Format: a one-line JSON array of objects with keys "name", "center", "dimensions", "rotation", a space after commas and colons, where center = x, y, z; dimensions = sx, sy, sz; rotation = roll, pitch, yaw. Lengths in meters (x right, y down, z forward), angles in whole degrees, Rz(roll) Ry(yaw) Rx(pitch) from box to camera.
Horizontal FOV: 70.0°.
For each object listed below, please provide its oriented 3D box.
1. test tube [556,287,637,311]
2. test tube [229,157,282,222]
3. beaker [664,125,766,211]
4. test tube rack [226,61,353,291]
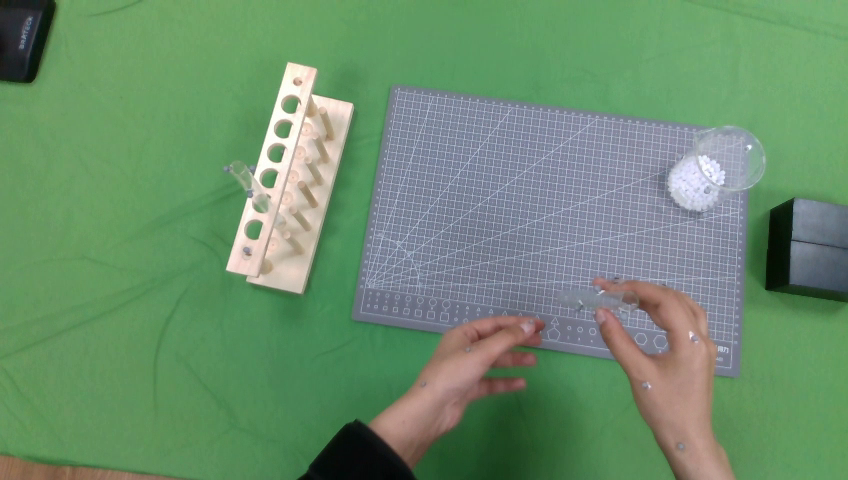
[{"name": "test tube", "center": [0.145, 0.049, 0.527], "dimensions": [0.017, 0.150, 0.017], "rotation": [0, 86, -7]}, {"name": "test tube", "center": [-0.175, -0.049, 0.640], "dimensions": [0.017, 0.151, 0.017], "rotation": [0, 72, 1]}, {"name": "beaker", "center": [0.322, -0.080, 0.690], "dimensions": [0.083, 0.100, 0.074], "rotation": [40, 80, 9]}, {"name": "test tube rack", "center": [-0.148, -0.071, 0.695], "dimensions": [0.067, 0.085, 0.241], "rotation": [13, 79, 3]}]
